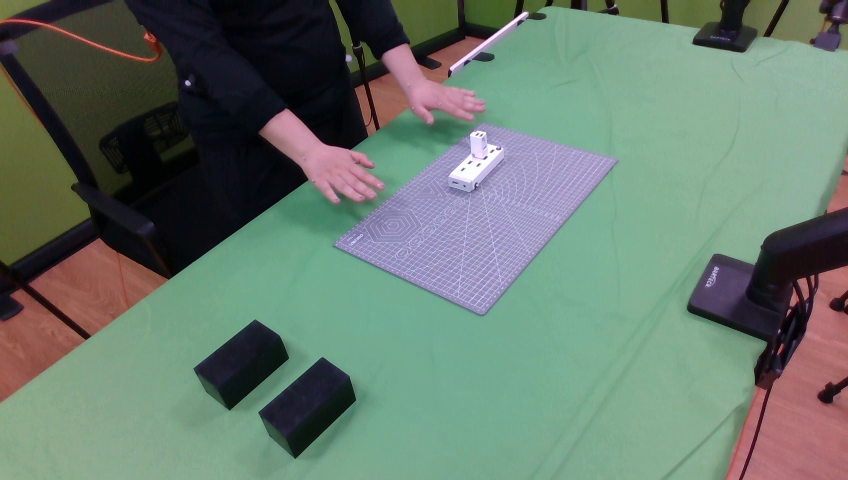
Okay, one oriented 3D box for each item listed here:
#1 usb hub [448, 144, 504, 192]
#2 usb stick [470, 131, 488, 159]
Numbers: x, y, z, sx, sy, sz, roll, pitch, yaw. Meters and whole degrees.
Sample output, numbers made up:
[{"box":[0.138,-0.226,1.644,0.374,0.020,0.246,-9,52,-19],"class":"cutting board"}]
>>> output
[{"box":[0.097,-0.133,1.105,0.049,0.025,0.125,20,48,28],"class":"usb hub"},{"box":[0.100,-0.166,1.100,0.027,0.059,0.021,18,46,25],"class":"usb stick"}]
